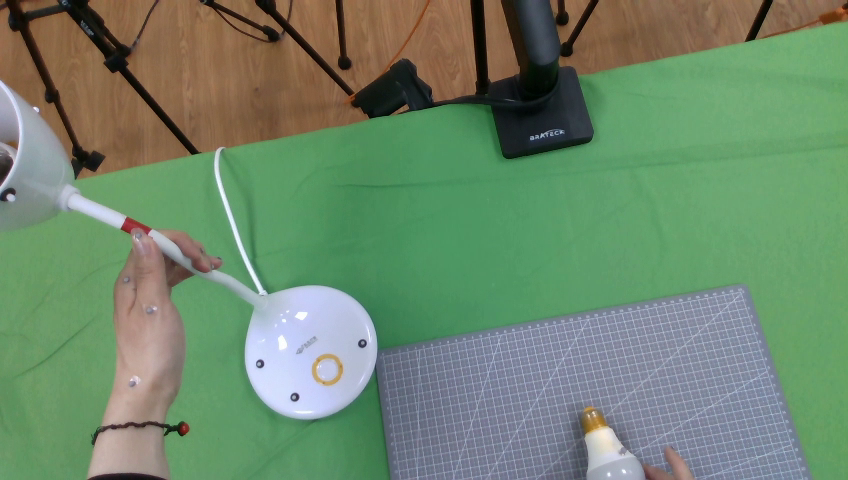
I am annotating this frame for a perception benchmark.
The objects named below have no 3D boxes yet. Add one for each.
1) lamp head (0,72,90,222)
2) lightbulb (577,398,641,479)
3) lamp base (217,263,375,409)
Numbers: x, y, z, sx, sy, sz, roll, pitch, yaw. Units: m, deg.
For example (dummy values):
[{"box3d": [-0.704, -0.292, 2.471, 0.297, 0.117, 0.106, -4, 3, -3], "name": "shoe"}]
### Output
[{"box3d": [-0.308, -0.059, 0.435, 0.112, 0.123, 0.112, 0, 80, 2], "name": "lamp head"}, {"box3d": [0.194, 0.222, 0.657, 0.059, 0.060, 0.106, -16, 56, 1], "name": "lightbulb"}, {"box3d": [-0.156, 0.092, 0.664, 0.178, 0.181, 0.160, 37, 79, 18], "name": "lamp base"}]
